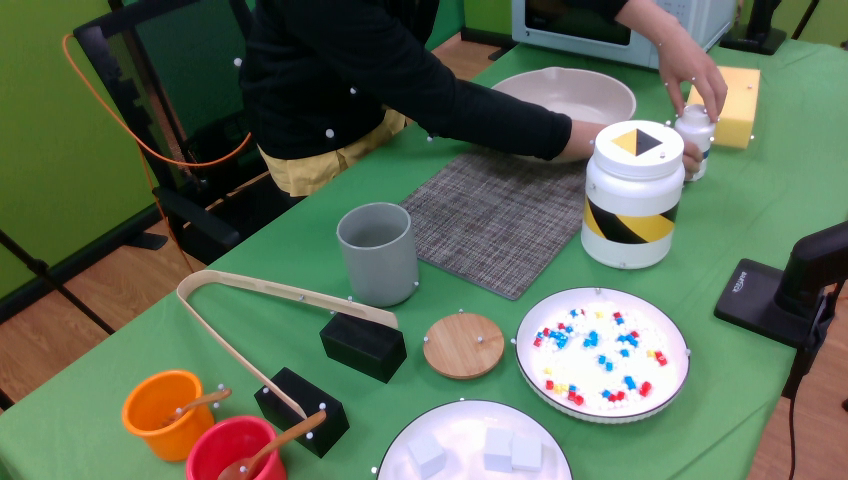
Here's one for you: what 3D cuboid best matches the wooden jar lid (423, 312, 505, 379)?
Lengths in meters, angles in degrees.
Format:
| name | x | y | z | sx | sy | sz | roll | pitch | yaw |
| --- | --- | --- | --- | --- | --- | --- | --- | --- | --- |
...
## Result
| name | x | y | z | sx | sy | sz | roll | pitch | yaw |
| --- | --- | --- | --- | --- | --- | --- | --- | --- | --- |
| wooden jar lid | 0.053 | 0.142 | 0.800 | 0.108 | 0.021 | 0.108 | -4 | 39 | 4 |

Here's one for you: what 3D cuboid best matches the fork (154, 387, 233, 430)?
| name | x | y | z | sx | sy | sz | roll | pitch | yaw |
| --- | --- | --- | --- | --- | --- | --- | --- | --- | --- |
| fork | -0.264 | 0.191 | 0.687 | 0.206 | 0.018 | 0.028 | -33 | 9 | 44 |

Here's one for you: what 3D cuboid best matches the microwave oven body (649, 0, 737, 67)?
| name | x | y | z | sx | sy | sz | roll | pitch | yaw |
| --- | --- | --- | --- | --- | --- | --- | --- | --- | --- |
| microwave oven body | 0.475 | -0.602 | 1.411 | 0.438 | 0.261 | 0.327 | 23 | 50 | 32 |

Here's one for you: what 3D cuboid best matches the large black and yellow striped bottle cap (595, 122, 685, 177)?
| name | x | y | z | sx | sy | sz | roll | pitch | yaw |
| --- | --- | --- | --- | --- | --- | --- | --- | --- | --- |
| large black and yellow striped bottle cap | 0.292 | -0.126 | 0.821 | 0.115 | 0.019 | 0.114 | -5 | 40 | 5 |

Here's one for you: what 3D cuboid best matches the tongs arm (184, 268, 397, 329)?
| name | x | y | z | sx | sy | sz | roll | pitch | yaw |
| --- | --- | --- | --- | --- | --- | --- | --- | --- | --- |
| tongs arm | -0.202 | 0.084 | 0.848 | 0.382 | 0.027 | 0.051 | 11 | 45 | 35 |

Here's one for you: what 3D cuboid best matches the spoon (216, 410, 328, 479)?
| name | x | y | z | sx | sy | sz | roll | pitch | yaw |
| --- | --- | --- | --- | --- | --- | --- | --- | --- | --- |
| spoon | -0.165 | 0.224 | 0.640 | 0.193 | 0.022 | 0.041 | -41 | 31 | 30 |

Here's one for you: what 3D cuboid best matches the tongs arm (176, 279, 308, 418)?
| name | x | y | z | sx | sy | sz | roll | pitch | yaw |
| --- | --- | --- | --- | --- | --- | --- | --- | --- | --- |
| tongs arm | -0.255 | 0.133 | 0.801 | 0.028 | 0.028 | 0.384 | -41 | 40 | -23 |

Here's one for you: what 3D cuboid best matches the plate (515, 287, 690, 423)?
| name | x | y | z | sx | sy | sz | roll | pitch | yaw |
| --- | --- | --- | --- | --- | --- | --- | --- | --- | --- |
| plate | 0.220 | 0.144 | 0.760 | 0.209 | 0.038 | 0.208 | -4 | 40 | 4 |

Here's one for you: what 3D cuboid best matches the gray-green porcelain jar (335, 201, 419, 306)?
| name | x | y | z | sx | sy | sz | roll | pitch | yaw |
| --- | --- | --- | --- | --- | --- | --- | --- | --- | --- |
| gray-green porcelain jar | -0.064 | 0.024 | 0.872 | 0.106 | 0.127 | 0.105 | -4 | 41 | 4 |

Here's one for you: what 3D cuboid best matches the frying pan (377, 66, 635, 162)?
| name | x | y | z | sx | sy | sz | roll | pitch | yaw |
| --- | --- | --- | --- | --- | --- | --- | --- | --- | --- |
| frying pan | 0.150 | -0.255 | 1.177 | 0.488 | 0.103 | 0.306 | 7 | 41 | 4 |

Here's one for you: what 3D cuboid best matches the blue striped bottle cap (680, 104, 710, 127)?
| name | x | y | z | sx | sy | sz | roll | pitch | yaw |
| --- | --- | --- | --- | --- | --- | --- | --- | --- | --- |
| blue striped bottle cap | 0.443 | -0.204 | 0.989 | 0.044 | 0.021 | 0.044 | -2 | 42 | 2 |

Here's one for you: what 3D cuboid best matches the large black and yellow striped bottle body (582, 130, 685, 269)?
| name | x | y | z | sx | sy | sz | roll | pitch | yaw |
| --- | --- | --- | --- | --- | --- | --- | --- | --- | --- |
| large black and yellow striped bottle body | 0.301 | -0.063 | 0.877 | 0.131 | 0.185 | 0.130 | -4 | 41 | 4 |

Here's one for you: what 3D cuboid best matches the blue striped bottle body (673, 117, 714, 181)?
| name | x | y | z | sx | sy | sz | roll | pitch | yaw |
| --- | --- | --- | --- | --- | --- | --- | --- | --- | --- |
| blue striped bottle body | 0.451 | -0.166 | 1.022 | 0.063 | 0.121 | 0.063 | -5 | 41 | 5 |

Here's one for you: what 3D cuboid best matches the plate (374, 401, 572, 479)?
| name | x | y | z | sx | sy | sz | roll | pitch | yaw |
| --- | --- | --- | --- | --- | --- | --- | --- | --- | --- |
| plate | 0.051 | 0.268 | 0.639 | 0.207 | 0.039 | 0.206 | -3 | 40 | 3 |

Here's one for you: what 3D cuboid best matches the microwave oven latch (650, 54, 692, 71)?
| name | x | y | z | sx | sy | sz | roll | pitch | yaw |
| --- | --- | --- | --- | --- | --- | --- | --- | --- | --- |
| microwave oven latch | 0.530 | -0.386 | 1.301 | 0.078 | 0.029 | 0.030 | 23 | 50 | 31 |

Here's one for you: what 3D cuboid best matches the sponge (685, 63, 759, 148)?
| name | x | y | z | sx | sy | sz | roll | pitch | yaw |
| --- | --- | --- | --- | --- | --- | --- | --- | --- | --- |
| sponge | 0.569 | -0.263 | 1.164 | 0.117 | 0.061 | 0.207 | 12 | 45 | 22 |

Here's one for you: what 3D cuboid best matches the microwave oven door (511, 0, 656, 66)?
| name | x | y | z | sx | sy | sz | roll | pitch | yaw |
| --- | --- | --- | --- | --- | --- | --- | --- | --- | --- |
| microwave oven door | 0.351 | -0.539 | 1.348 | 0.353 | 0.245 | 0.039 | 24 | 50 | 31 |
